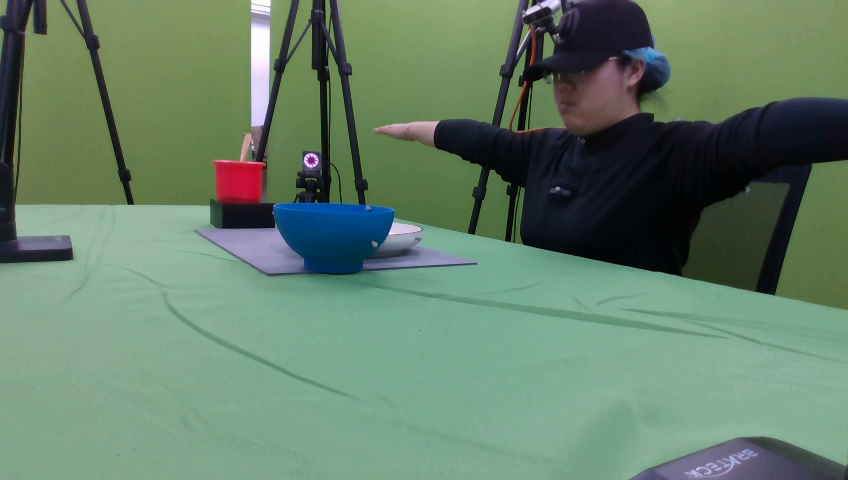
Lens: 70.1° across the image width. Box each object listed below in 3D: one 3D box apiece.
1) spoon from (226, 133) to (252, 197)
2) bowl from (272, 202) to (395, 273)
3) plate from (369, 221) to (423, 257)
[{"bbox_3d":[-0.356,-0.150,1.189,0.042,0.021,0.193,0,51,-3],"label":"spoon"},{"bbox_3d":[-0.112,-0.003,0.751,0.151,0.077,0.151,3,7,0],"label":"bowl"},{"bbox_3d":[-0.105,-0.004,0.922,0.208,0.039,0.207,3,7,0],"label":"plate"}]
